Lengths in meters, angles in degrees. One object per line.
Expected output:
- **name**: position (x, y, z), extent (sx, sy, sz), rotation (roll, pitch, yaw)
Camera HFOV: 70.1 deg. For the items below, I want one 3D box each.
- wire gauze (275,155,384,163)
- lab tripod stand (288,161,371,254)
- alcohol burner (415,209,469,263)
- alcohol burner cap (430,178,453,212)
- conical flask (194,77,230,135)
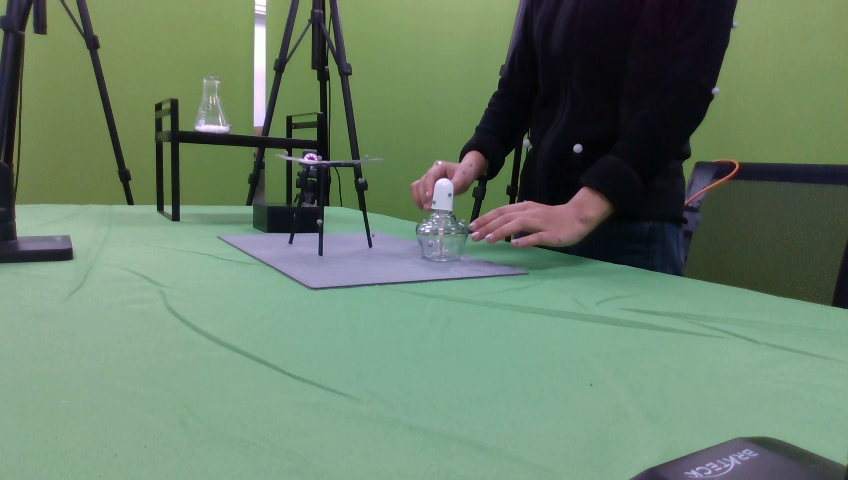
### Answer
- **wire gauze**: position (-0.142, -0.118, 0.900), extent (0.122, 0.011, 0.124), rotation (-3, 8, -37)
- **lab tripod stand**: position (-0.148, -0.052, 0.909), extent (0.148, 0.131, 0.148), rotation (1, 8, 0)
- **alcohol burner**: position (0.026, -0.028, 0.863), extent (0.078, 0.119, 0.078), rotation (1, 6, 0)
- **alcohol burner cap**: position (0.027, -0.064, 0.858), extent (0.034, 0.048, 0.034), rotation (5, 4, 0)
- **conical flask**: position (-0.461, -0.292, 1.317), extent (0.075, 0.122, 0.075), rotation (2, 7, 0)
